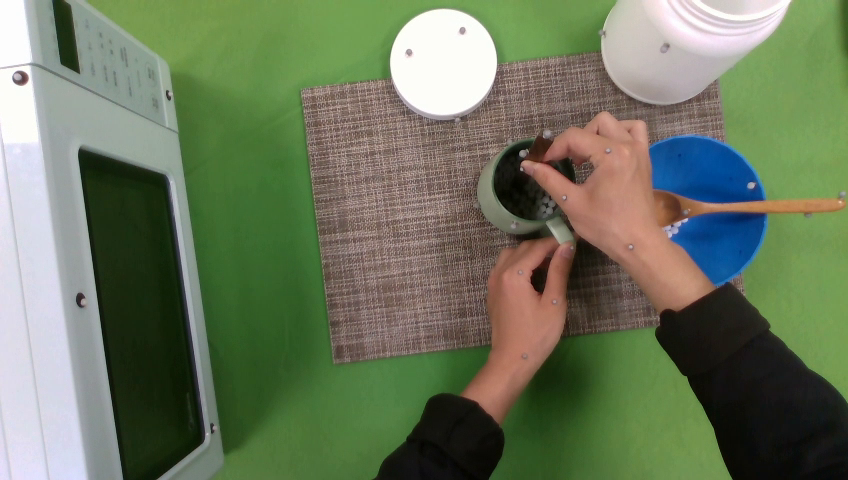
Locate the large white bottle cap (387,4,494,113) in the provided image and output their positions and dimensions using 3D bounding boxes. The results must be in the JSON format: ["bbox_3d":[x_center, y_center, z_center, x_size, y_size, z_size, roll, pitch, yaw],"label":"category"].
[{"bbox_3d":[0.017,-0.194,0.648,0.115,0.018,0.114,0,88,1],"label":"large white bottle cap"}]

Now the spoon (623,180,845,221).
[{"bbox_3d":[0.295,-0.040,0.588,0.193,0.022,0.041,0,93,24],"label":"spoon"}]

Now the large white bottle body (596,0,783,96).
[{"bbox_3d":[0.246,-0.224,0.564,0.130,0.185,0.130,0,86,1],"label":"large white bottle body"}]

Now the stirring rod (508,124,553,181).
[{"bbox_3d":[0.094,-0.076,0.552,0.014,0.176,0.006,21,84,3],"label":"stirring rod"}]

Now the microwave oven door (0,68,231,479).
[{"bbox_3d":[-0.251,0.060,0.526,0.039,0.244,0.355,-9,90,1],"label":"microwave oven door"}]

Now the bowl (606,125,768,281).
[{"bbox_3d":[0.253,-0.034,0.616,0.151,0.077,0.151,0,90,1],"label":"bowl"}]

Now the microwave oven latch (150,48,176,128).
[{"bbox_3d":[-0.281,-0.155,0.628,0.030,0.029,0.079,-9,90,0],"label":"microwave oven latch"}]

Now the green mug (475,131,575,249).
[{"bbox_3d":[0.109,-0.046,0.605,0.092,0.105,0.125,-35,89,1],"label":"green mug"}]

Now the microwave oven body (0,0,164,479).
[{"bbox_3d":[-0.402,0.041,0.533,0.326,0.260,0.441,-9,90,0],"label":"microwave oven body"}]
